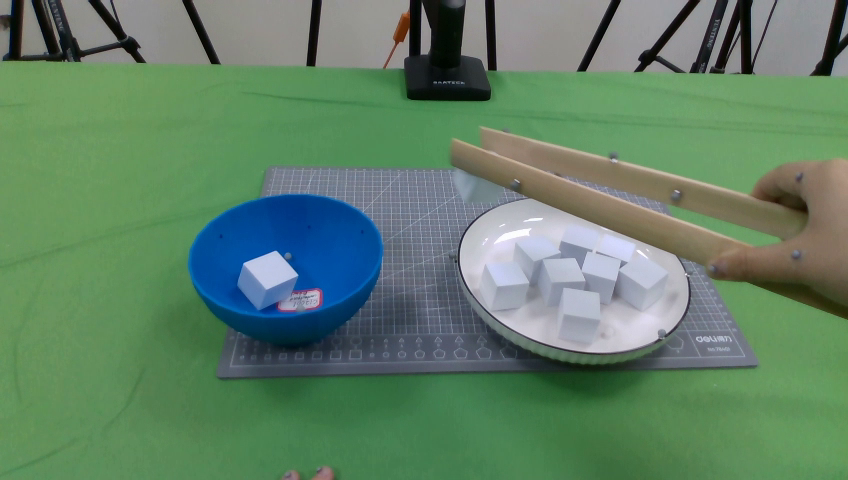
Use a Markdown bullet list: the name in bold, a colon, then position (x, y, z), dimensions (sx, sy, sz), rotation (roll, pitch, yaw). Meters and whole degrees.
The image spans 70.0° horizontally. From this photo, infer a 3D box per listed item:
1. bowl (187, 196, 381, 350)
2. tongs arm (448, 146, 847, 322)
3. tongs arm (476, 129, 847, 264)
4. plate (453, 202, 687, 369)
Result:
- **bowl**: position (-0.111, 0.038, 0.504), dimensions (0.151, 0.077, 0.150), rotation (3, 40, -2)
- **tongs arm**: position (0.170, -0.001, 0.386), dimensions (0.384, 0.028, 0.028), rotation (24, 41, 32)
- **tongs arm**: position (0.187, -0.013, 0.401), dimensions (0.382, 0.027, 0.050), rotation (21, 42, 30)
- **plate**: position (0.129, 0.039, 0.555), dimensions (0.208, 0.039, 0.205), rotation (3, 40, -2)
